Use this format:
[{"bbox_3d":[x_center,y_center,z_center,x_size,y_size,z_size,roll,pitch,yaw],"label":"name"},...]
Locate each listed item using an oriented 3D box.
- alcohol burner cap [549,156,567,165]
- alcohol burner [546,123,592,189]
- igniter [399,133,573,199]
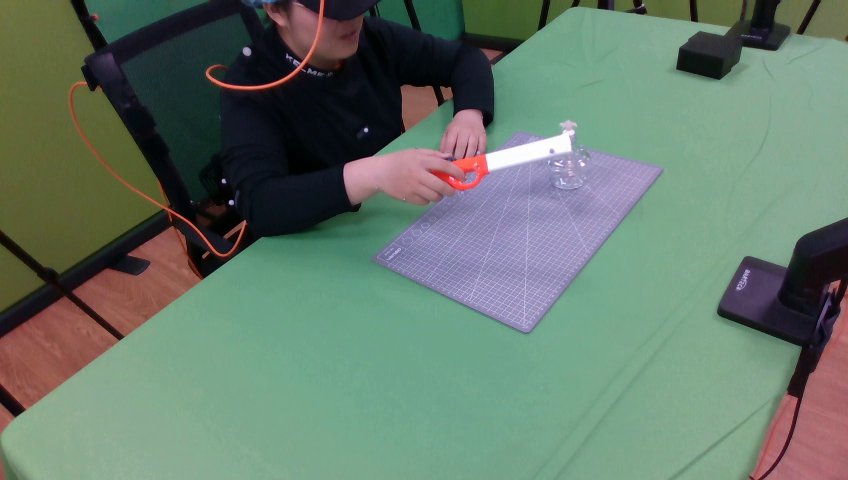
[{"bbox_3d":[0.247,-0.166,1.114,0.034,0.048,0.033,-6,40,6],"label":"alcohol burner cap"},{"bbox_3d":[0.248,-0.147,1.035,0.078,0.120,0.077,-7,41,6],"label":"alcohol burner"},{"bbox_3d":[0.088,-0.112,0.928,0.275,0.025,0.057,-13,80,17],"label":"igniter"}]
